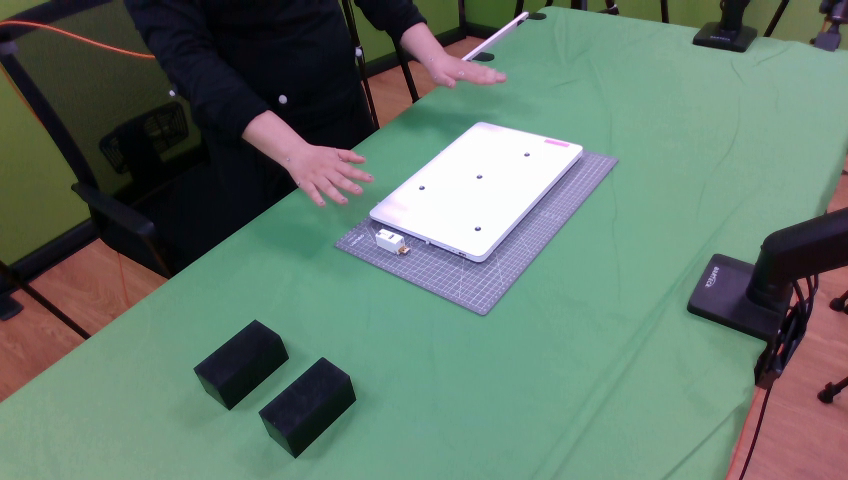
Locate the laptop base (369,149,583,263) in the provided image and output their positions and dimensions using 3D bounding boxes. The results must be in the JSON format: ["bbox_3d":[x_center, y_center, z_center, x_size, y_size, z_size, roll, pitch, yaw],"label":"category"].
[{"bbox_3d":[0.101,-0.096,1.071,0.233,0.023,0.355,20,47,33],"label":"laptop base"}]

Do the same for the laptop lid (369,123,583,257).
[{"bbox_3d":[0.097,-0.106,1.065,0.239,0.013,0.358,22,48,33],"label":"laptop lid"}]

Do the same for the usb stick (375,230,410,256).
[{"bbox_3d":[-0.049,0.007,0.962,0.059,0.027,0.021,25,46,29],"label":"usb stick"}]
